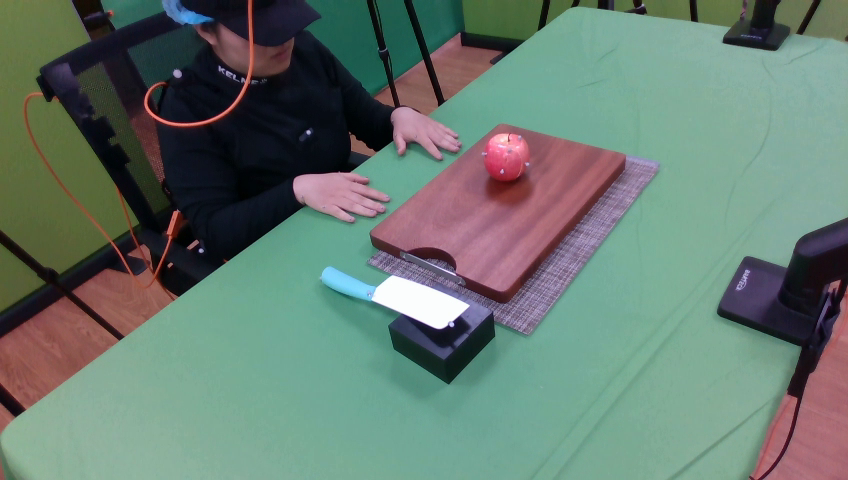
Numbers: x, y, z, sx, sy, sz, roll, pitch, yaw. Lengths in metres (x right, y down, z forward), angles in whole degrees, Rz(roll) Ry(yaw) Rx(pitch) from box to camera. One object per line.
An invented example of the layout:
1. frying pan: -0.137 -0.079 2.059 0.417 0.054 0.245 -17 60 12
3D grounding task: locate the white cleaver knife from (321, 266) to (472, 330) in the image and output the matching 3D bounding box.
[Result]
1. white cleaver knife: -0.049 0.075 0.867 0.284 0.021 0.066 16 42 43

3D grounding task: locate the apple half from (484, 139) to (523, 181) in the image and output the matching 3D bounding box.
1. apple half: 0.128 -0.129 1.029 0.080 0.081 0.033 22 45 32

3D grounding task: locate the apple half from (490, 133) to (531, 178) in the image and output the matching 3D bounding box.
1. apple half: 0.153 -0.150 1.051 0.080 0.075 0.053 21 44 35
